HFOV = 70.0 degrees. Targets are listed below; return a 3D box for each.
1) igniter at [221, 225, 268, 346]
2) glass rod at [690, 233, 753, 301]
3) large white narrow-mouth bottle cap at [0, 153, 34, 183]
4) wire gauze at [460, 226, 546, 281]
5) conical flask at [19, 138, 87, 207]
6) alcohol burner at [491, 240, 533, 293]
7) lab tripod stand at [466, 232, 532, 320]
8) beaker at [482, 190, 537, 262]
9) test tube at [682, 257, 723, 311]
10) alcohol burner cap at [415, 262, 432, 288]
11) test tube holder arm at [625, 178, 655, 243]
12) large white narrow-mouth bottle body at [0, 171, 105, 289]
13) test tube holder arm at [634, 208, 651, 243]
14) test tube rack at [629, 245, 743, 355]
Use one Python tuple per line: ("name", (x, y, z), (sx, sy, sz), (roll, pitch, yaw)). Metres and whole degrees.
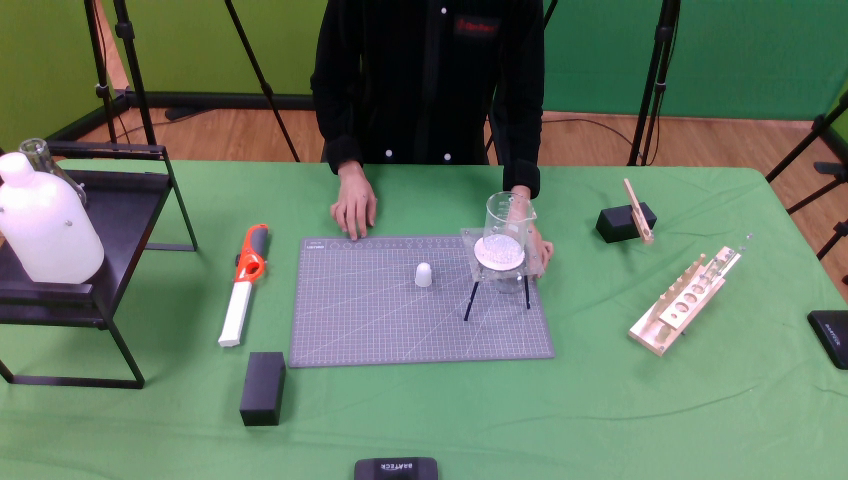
("igniter", (-0.323, 0.072, 1.100), (0.057, 0.025, 0.274), (-6, 45, 5))
("glass rod", (0.507, 0.053, 1.041), (0.008, 0.200, 0.008), (5, 51, -6))
("large white narrow-mouth bottle cap", (-0.510, -0.090, 0.754), (0.038, 0.024, 0.037), (2, 46, -2))
("wire gauze", (0.130, 0.017, 1.016), (0.121, 0.011, 0.124), (-4, 43, -9))
("conical flask", (-0.576, -0.097, 0.930), (0.075, 0.122, 0.075), (2, 46, -2))
("alcohol burner", (0.161, 0.040, 1.100), (0.078, 0.120, 0.077), (1, 47, 0))
("lab tripod stand", (0.125, 0.059, 1.065), (0.148, 0.132, 0.147), (1, 45, 0))
("beaker", (0.136, -0.019, 0.983), (0.084, 0.101, 0.073), (17, 47, 14))
("test tube", (0.474, 0.080, 1.037), (0.017, 0.151, 0.017), (1, 50, -1))
("alcohol burner cap", (0.000, 0.061, 1.119), (0.034, 0.048, 0.033), (3, 43, -3))
("test tube holder arm", (0.433, -0.062, 1.220), (0.013, 0.015, 0.177), (1, 47, -3))
("large white narrow-mouth bottle body", (-0.513, -0.029, 0.818), (0.102, 0.195, 0.101), (2, 46, -2))
("test tube holder arm", (0.428, -0.030, 1.189), (0.010, 0.015, 0.087), (2, 47, -2))
("test tube rack", (0.474, 0.095, 1.091), (0.242, 0.085, 0.066), (-34, 56, -31))
